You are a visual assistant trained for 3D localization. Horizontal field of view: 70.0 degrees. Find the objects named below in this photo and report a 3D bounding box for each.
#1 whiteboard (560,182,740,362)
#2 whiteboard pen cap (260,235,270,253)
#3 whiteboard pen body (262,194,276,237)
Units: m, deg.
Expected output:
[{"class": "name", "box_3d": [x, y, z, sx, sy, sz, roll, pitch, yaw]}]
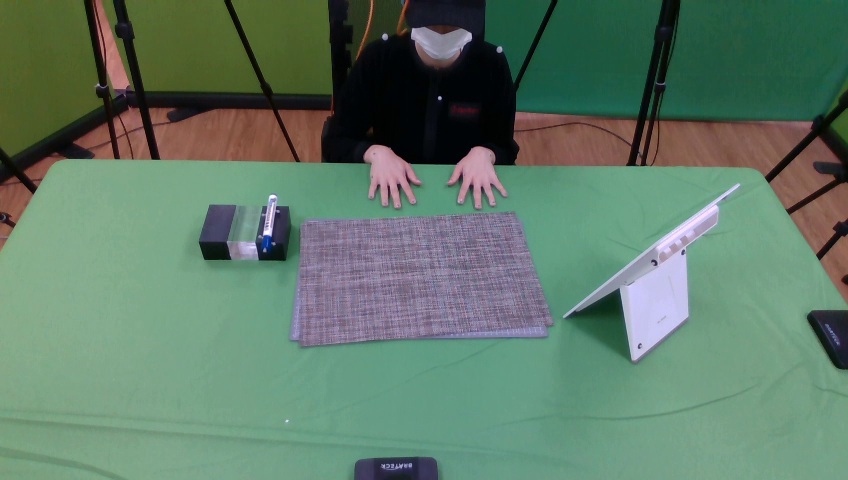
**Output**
[{"class": "whiteboard", "box_3d": [0.406, 0.075, 1.001, 0.217, 0.306, 0.143, -28, 73, -28]}, {"class": "whiteboard pen cap", "box_3d": [-0.289, 0.005, 1.103, 0.018, 0.018, 0.033, 0, 48, -5]}, {"class": "whiteboard pen body", "box_3d": [-0.294, -0.038, 1.145, 0.017, 0.017, 0.140, -1, 46, -5]}]
